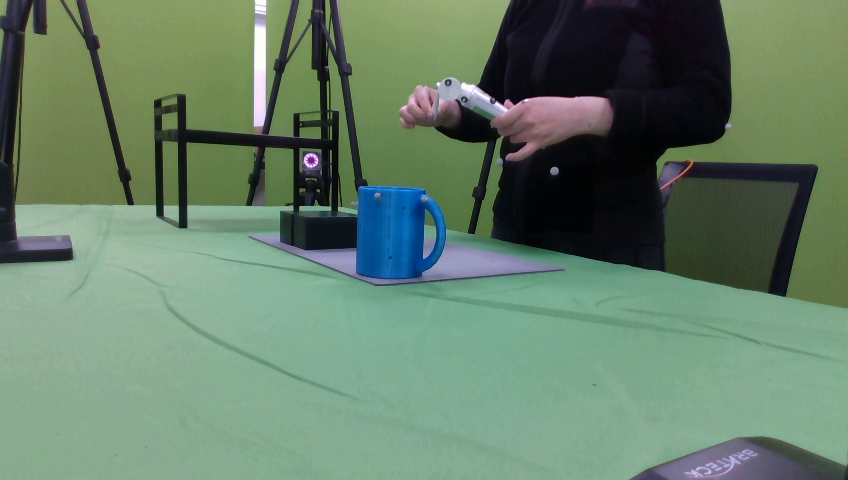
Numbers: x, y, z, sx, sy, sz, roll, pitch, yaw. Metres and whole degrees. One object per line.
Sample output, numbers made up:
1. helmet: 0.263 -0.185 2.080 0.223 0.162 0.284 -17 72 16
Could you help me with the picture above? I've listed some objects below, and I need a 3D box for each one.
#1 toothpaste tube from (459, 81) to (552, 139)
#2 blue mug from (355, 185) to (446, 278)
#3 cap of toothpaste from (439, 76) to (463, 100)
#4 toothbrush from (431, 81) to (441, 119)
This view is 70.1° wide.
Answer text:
1. toothpaste tube: 0.119 -0.196 0.926 0.165 0.034 0.055 26 8 -14
2. blue mug: -0.027 -0.011 0.723 0.116 0.106 0.083 6 8 27
3. cap of toothpaste: 0.040 -0.225 0.890 0.037 0.037 0.011 1 36 -5
4. toothbrush: 0.023 -0.229 0.991 0.016 0.014 0.182 -29 -2 -4
